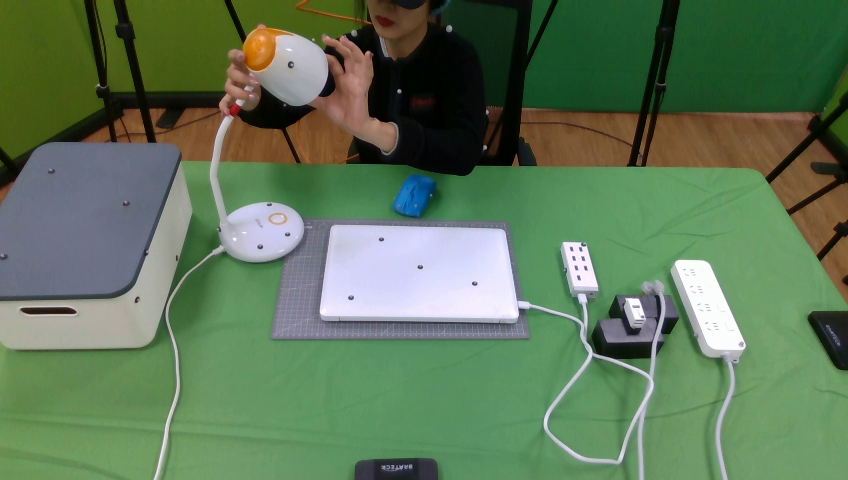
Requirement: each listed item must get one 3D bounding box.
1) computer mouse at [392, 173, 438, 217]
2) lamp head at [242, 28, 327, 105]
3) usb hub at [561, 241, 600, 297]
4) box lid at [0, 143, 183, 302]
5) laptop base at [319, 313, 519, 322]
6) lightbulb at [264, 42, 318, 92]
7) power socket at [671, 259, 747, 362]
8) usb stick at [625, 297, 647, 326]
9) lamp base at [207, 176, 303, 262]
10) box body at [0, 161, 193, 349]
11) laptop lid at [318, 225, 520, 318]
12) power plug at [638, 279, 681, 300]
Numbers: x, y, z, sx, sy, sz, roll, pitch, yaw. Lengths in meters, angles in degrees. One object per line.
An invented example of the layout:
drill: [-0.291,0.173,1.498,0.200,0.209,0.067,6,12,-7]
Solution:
computer mouse: [-0.018,-0.098,1.282,0.062,0.041,0.117,20,51,13]
lamp head: [-0.235,-0.283,0.972,0.112,0.112,0.123,31,13,24]
usb hub: [0.300,0.055,1.162,0.049,0.025,0.124,2,46,-3]
box lid: [-0.567,-0.045,0.999,0.263,0.015,0.369,-1,46,-4]
laptop base: [-0.009,0.062,1.137,0.354,0.023,0.234,1,42,-3]
lightbulb: [-0.221,-0.287,0.996,0.059,0.108,0.059,-14,61,28]
power socket: [0.516,0.119,1.108,0.072,0.033,0.225,1,46,-2]
usb stick: [0.360,0.116,1.034,0.021,0.027,0.059,-2,44,-2]
lamp base: [-0.325,-0.065,1.126,0.179,0.181,0.159,-34,56,-27]
box body: [-0.570,0.006,1.054,0.254,0.161,0.361,-1,46,-4]
laptop lid: [-0.009,0.052,1.131,0.357,0.013,0.240,2,43,-2]
power plug: [0.434,0.099,1.118,0.073,0.053,0.035,34,37,-15]
